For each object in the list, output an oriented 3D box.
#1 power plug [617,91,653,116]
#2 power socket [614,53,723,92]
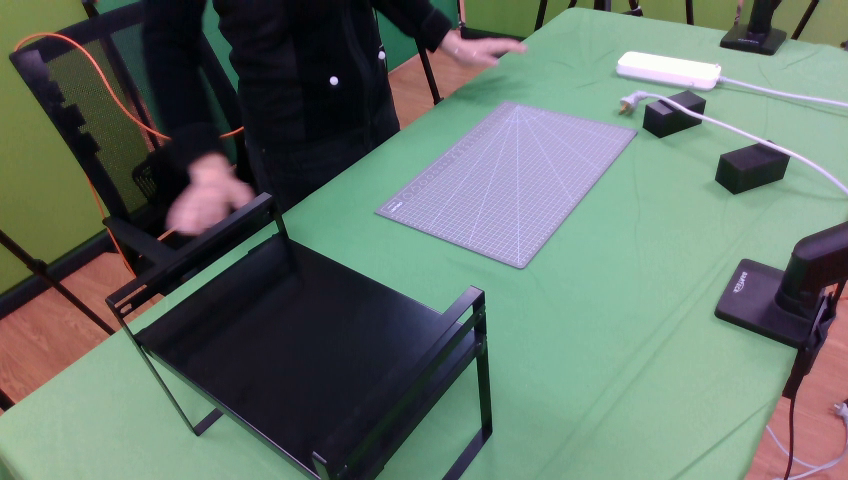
[{"bbox_3d":[0.414,-0.273,1.206,0.035,0.052,0.072,35,3,-7],"label":"power plug"},{"bbox_3d":[0.528,-0.367,1.317,0.225,0.033,0.072,21,49,29],"label":"power socket"}]
